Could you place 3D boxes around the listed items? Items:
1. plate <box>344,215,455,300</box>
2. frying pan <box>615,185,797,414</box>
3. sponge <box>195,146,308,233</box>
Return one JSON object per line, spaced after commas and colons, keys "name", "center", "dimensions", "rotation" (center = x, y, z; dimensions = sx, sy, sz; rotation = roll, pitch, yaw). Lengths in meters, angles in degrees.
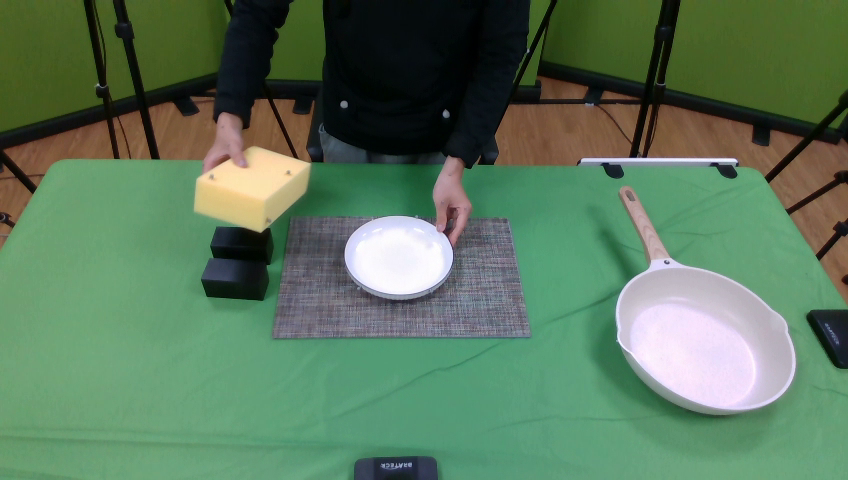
{"name": "plate", "center": [-0.045, 0.035, 1.146], "dimensions": [0.208, 0.039, 0.206], "rotation": [2, 46, -2]}
{"name": "frying pan", "center": [0.450, 0.087, 1.092], "dimensions": [0.307, 0.103, 0.484], "rotation": [-4, 55, -10]}
{"name": "sponge", "center": [-0.297, -0.095, 1.065], "dimensions": [0.118, 0.061, 0.206], "rotation": [16, 27, 3]}
